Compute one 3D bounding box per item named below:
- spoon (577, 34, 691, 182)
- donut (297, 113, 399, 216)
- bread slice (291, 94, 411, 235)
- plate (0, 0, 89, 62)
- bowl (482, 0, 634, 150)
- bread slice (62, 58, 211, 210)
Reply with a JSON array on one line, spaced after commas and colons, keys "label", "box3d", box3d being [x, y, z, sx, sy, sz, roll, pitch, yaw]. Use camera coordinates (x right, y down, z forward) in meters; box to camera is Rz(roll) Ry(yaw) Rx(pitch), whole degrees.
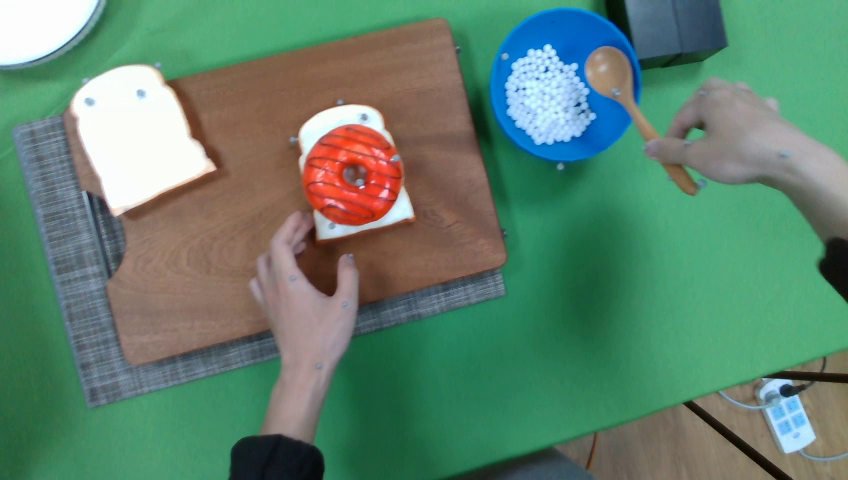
[{"label": "spoon", "box3d": [0.186, -0.122, 0.547, 0.022, 0.191, 0.041, 23, 128, -39]}, {"label": "donut", "box3d": [-0.073, -0.072, 0.584, 0.099, 0.048, 0.099, 0, 92, -5]}, {"label": "bread slice", "box3d": [-0.081, -0.080, 0.613, 0.105, 0.019, 0.131, -16, 93, -5]}, {"label": "plate", "box3d": [-0.430, -0.278, 0.604, 0.208, 0.039, 0.207, 0, 91, -4]}, {"label": "bowl", "box3d": [0.129, -0.163, 0.626, 0.151, 0.077, 0.151, 0, 91, -4]}, {"label": "bread slice", "box3d": [-0.289, -0.108, 0.595, 0.107, 0.018, 0.134, -30, 92, -4]}]
